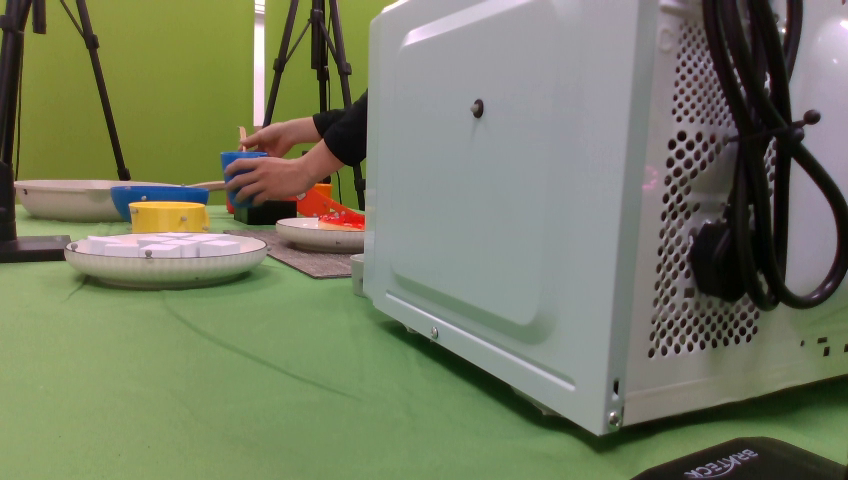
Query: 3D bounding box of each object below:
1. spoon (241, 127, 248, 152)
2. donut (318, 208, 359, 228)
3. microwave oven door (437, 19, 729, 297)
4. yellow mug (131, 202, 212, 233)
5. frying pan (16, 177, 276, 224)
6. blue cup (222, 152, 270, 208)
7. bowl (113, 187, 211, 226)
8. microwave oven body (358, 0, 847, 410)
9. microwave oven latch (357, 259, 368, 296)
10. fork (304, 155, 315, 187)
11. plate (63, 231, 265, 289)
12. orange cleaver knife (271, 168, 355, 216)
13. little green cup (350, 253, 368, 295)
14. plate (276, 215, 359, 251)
[{"bbox_3d":[-0.430,-0.215,1.469,0.042,0.021,0.193,-7,52,-13],"label":"spoon"},{"bbox_3d":[-0.118,-0.024,0.954,0.099,0.048,0.099,5,7,0],"label":"donut"},{"bbox_3d":[0.180,-0.076,0.618,0.358,0.243,0.039,-2,8,-28],"label":"microwave oven door"},{"bbox_3d":[-0.356,-0.020,0.878,0.099,0.064,0.131,5,7,21],"label":"yellow mug"},{"bbox_3d":[-0.554,-0.097,1.266,0.490,0.102,0.305,-10,13,-24],"label":"frying pan"},{"bbox_3d":[-0.339,-0.115,1.153,0.093,0.100,0.092,1,12,0],"label":"blue cup"},{"bbox_3d":[-0.436,-0.046,1.013,0.151,0.077,0.151,2,7,0],"label":"bowl"},{"bbox_3d":[0.210,-0.051,0.471,0.444,0.260,0.324,-1,7,-28],"label":"microwave oven body"},{"bbox_3d":[-0.019,0.031,0.528,0.079,0.029,0.030,-1,7,-25],"label":"microwave oven latch"},{"bbox_3d":[-0.268,-0.134,1.447,0.028,0.018,0.207,2,-35,0],"label":"fork"},{"bbox_3d":[-0.288,0.021,0.687,0.208,0.039,0.207,2,8,0],"label":"plate"},{"bbox_3d":[-0.236,-0.084,1.332,0.212,0.077,0.012,31,-9,-31],"label":"orange cleaver knife"},{"bbox_3d":[-0.048,0.035,0.632,0.061,0.038,0.061,3,6,0],"label":"little green cup"},{"bbox_3d":[-0.125,-0.012,0.950,0.209,0.038,0.209,2,7,0],"label":"plate"}]
